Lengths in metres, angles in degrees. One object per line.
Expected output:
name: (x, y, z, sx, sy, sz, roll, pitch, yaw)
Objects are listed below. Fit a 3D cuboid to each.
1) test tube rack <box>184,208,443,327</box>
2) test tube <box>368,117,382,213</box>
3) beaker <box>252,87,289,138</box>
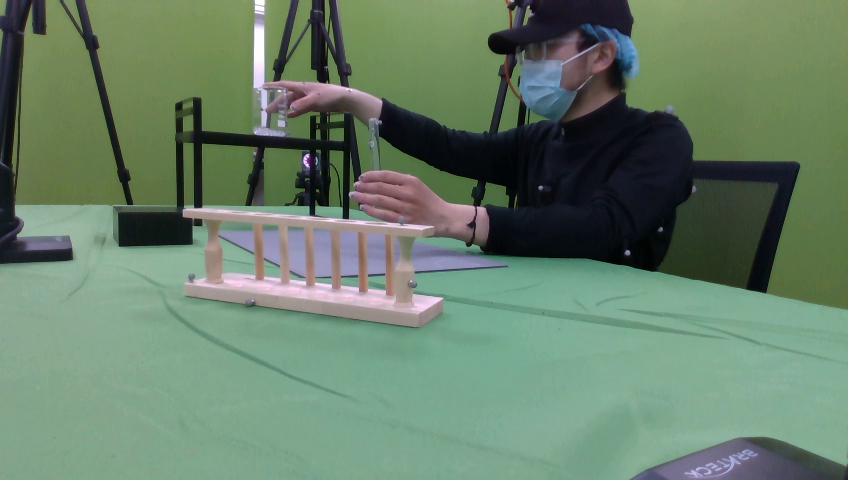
test tube rack: (-0.106, 0.019, 0.570, 0.241, 0.085, 0.067, 5, 8, 20)
test tube: (-0.077, -0.118, 0.952, 0.017, 0.150, 0.017, -3, 0, 0)
beaker: (-0.319, -0.263, 1.250, 0.074, 0.100, 0.084, 5, 8, 21)
